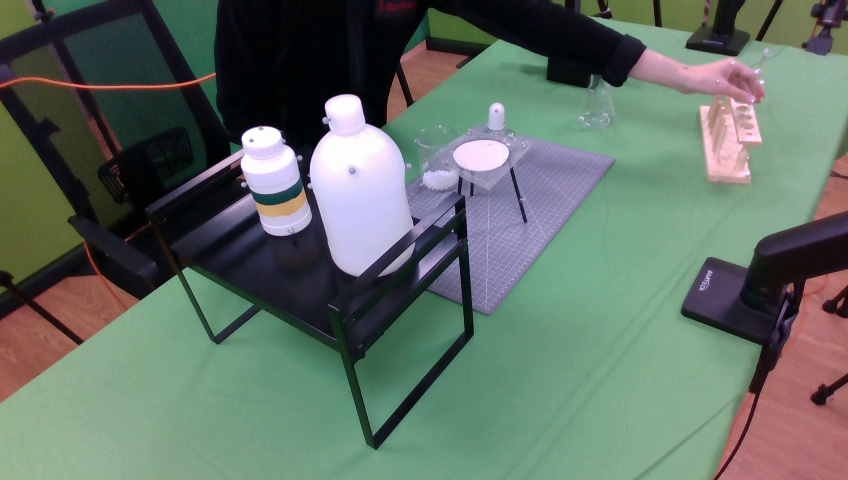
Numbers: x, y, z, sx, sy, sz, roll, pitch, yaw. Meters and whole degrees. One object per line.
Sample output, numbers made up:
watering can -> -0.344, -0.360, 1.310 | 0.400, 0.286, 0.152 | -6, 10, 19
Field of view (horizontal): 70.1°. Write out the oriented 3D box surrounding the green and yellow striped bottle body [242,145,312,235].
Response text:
green and yellow striped bottle body -> -0.179, -0.069, 0.730 | 0.063, 0.120, 0.063 | -4, 41, 4

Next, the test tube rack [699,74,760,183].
test tube rack -> 0.547, -0.208, 1.094 | 0.066, 0.085, 0.242 | 6, 42, 16

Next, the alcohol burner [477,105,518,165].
alcohol burner -> 0.135, -0.199, 1.117 | 0.078, 0.119, 0.077 | -4, 43, 4

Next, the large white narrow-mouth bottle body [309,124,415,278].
large white narrow-mouth bottle body -> -0.068, -0.057, 0.645 | 0.102, 0.195, 0.101 | -4, 42, 4

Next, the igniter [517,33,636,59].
igniter -> 0.336, -0.441, 1.369 | 0.275, 0.025, 0.057 | 16, 41, 24

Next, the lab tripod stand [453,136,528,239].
lab tripod stand -> 0.095, -0.086, 0.974 | 0.148, 0.132, 0.147 | -4, 43, 4

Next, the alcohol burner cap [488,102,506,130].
alcohol burner cap -> 0.133, -0.227, 1.093 | 0.034, 0.048, 0.033 | -2, 47, 3

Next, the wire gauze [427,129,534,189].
wire gauze -> 0.086, -0.131, 0.924 | 0.124, 0.011, 0.122 | 26, 52, 33

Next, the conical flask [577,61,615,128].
conical flask -> 0.343, -0.288, 1.188 | 0.075, 0.122, 0.075 | -4, 41, 4

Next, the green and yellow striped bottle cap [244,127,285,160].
green and yellow striped bottle cap -> -0.183, -0.111, 0.694 | 0.045, 0.020, 0.045 | -1, 42, 2

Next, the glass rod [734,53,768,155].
glass rod -> 0.543, -0.219, 1.006 | 0.008, 0.201, 0.008 | -5, 46, 5

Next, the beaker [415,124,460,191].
beaker -> 0.027, -0.147, 1.081 | 0.073, 0.100, 0.084 | 12, 44, 21

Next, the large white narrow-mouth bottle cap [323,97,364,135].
large white narrow-mouth bottle cap -> -0.077, -0.121, 0.585 | 0.038, 0.024, 0.037 | -4, 42, 4
